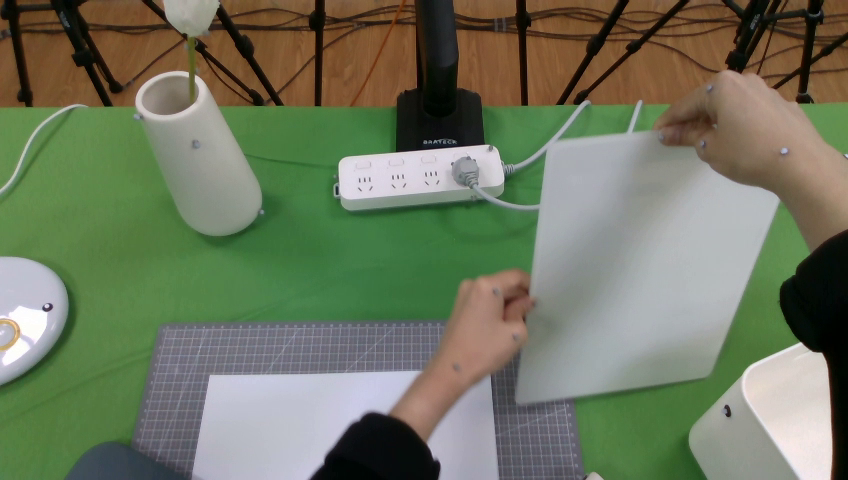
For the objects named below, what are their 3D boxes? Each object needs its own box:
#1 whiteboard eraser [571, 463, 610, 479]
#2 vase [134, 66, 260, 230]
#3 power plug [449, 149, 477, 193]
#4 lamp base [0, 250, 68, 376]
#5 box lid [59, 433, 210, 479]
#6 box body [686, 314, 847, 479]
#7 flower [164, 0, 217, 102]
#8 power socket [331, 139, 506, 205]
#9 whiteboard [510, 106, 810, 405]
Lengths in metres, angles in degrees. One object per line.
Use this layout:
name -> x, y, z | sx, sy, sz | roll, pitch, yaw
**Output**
whiteboard eraser -> 0.135, 0.263, 0.551 | 0.112, 0.042, 0.055 | -40, 66, -22
vase -> -0.252, -0.097, 0.680 | 0.098, 0.201, 0.097 | 0, 58, 1
power plug -> 0.047, -0.079, 0.743 | 0.035, 0.053, 0.072 | 5, 64, 2
lamp base -> -0.489, 0.034, 0.606 | 0.178, 0.182, 0.160 | 28, 62, 19
box lid -> -0.217, 0.350, 0.514 | 0.370, 0.015, 0.262 | 22, 61, 12
box body -> 0.428, 0.246, 0.496 | 0.254, 0.162, 0.360 | -19, 60, -12
flower -> -0.232, -0.133, 0.606 | 0.038, 0.363, 0.044 | 47, 59, 6
power socket -> -0.006, -0.088, 0.774 | 0.227, 0.033, 0.071 | -5, 59, -4
whiteboard -> 0.187, -0.006, 0.597 | 0.217, 0.308, 0.142 | -7, 37, -7
